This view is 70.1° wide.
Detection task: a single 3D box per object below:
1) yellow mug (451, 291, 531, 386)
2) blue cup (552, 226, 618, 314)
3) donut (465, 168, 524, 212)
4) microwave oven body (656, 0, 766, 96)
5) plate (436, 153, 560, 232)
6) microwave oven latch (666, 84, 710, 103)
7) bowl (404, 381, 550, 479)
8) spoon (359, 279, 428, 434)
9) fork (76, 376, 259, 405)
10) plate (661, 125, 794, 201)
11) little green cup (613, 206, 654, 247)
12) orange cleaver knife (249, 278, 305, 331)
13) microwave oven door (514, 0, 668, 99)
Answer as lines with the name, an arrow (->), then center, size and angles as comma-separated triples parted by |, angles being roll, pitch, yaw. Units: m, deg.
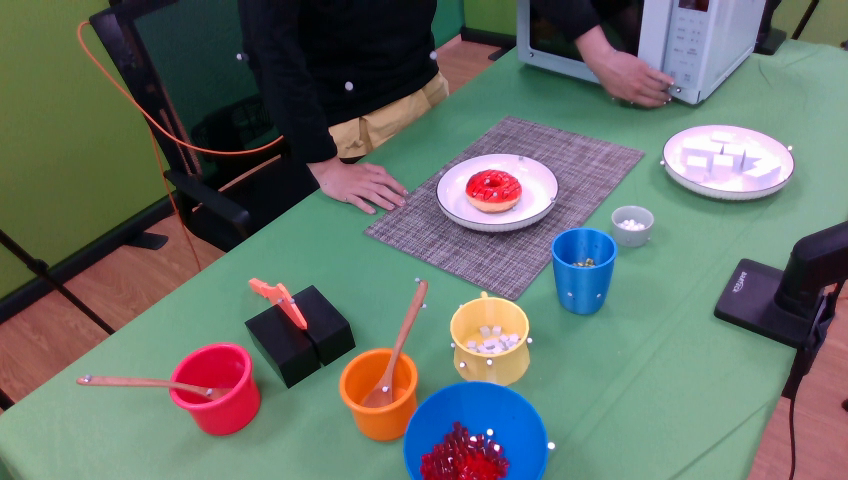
yellow mug -> 0.086, 0.120, 0.786 | 0.100, 0.064, 0.130 | -7, 39, 1
blue cup -> 0.218, 0.047, 0.825 | 0.092, 0.101, 0.092 | -6, 40, 5
donut -> 0.119, -0.084, 1.021 | 0.099, 0.048, 0.098 | -3, 39, 3
microwave oven body -> 0.472, -0.513, 1.317 | 0.438, 0.261, 0.327 | 26, 51, 34
plate -> 0.125, -0.078, 1.029 | 0.209, 0.038, 0.208 | -4, 40, 4
microwave oven latch -> 0.524, -0.298, 1.205 | 0.030, 0.029, 0.078 | -29, 44, -21
bowl -> 0.058, 0.235, 0.645 | 0.151, 0.077, 0.150 | -4, 39, 4
spoon -> -0.032, 0.138, 0.719 | 0.041, 0.193, 0.022 | 22, 4, 29
fork -> -0.295, 0.176, 0.716 | 0.209, 0.018, 0.028 | 19, 27, -36
plate -> 0.513, -0.128, 1.035 | 0.207, 0.039, 0.206 | -4, 40, 4
little green cup -> 0.322, -0.019, 0.936 | 0.061, 0.039, 0.061 | -3, 41, 3
orange cleaver knife -> -0.210, 0.089, 0.856 | 0.012, 0.077, 0.210 | -28, 15, -25
microwave oven door -> 0.337, -0.450, 1.255 | 0.353, 0.245, 0.039 | 29, 53, 35
